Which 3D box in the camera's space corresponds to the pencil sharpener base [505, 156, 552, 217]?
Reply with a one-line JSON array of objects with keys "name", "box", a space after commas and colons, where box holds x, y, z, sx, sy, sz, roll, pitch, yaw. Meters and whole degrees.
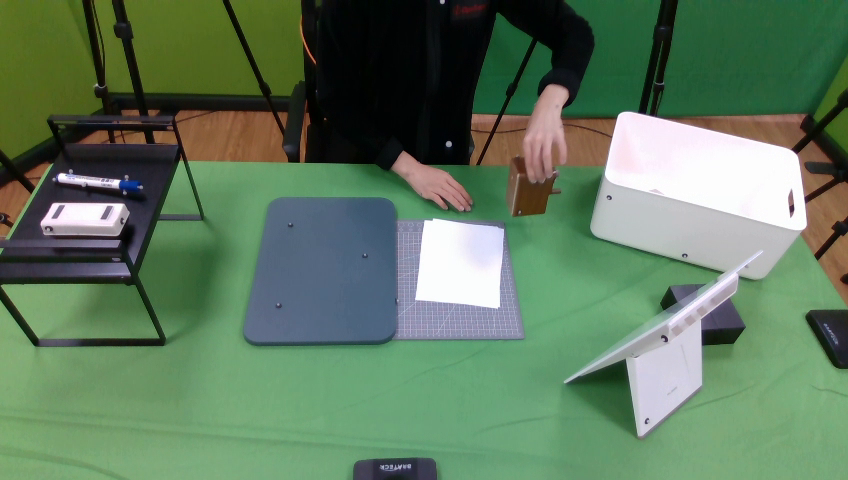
[{"name": "pencil sharpener base", "box": [0.206, -0.104, 1.190, 0.077, 0.107, 0.061, -5, 42, -7]}]

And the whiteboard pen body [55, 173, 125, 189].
[{"name": "whiteboard pen body", "box": [-0.539, -0.095, 0.998, 0.141, 0.017, 0.017, 6, 46, 6]}]

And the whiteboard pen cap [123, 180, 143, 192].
[{"name": "whiteboard pen cap", "box": [-0.479, -0.089, 0.993, 0.033, 0.018, 0.018, 7, 46, 14]}]

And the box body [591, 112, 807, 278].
[{"name": "box body", "box": [0.540, -0.092, 1.229, 0.363, 0.161, 0.253, 16, 47, 11]}]

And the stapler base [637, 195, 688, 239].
[{"name": "stapler base", "box": [0.507, -0.055, 1.280, 0.041, 0.024, 0.129, -14, 47, -19]}]

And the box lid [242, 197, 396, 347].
[{"name": "box lid", "box": [-0.186, 0.046, 1.147, 0.263, 0.015, 0.369, 0, 46, -3]}]

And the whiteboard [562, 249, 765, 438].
[{"name": "whiteboard", "box": [0.386, 0.175, 0.905, 0.217, 0.306, 0.143, -26, 72, -26]}]

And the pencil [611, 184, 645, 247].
[{"name": "pencil", "box": [0.430, -0.057, 1.286, 0.012, 0.012, 0.192, -3, 46, -7]}]

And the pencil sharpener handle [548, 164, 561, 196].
[{"name": "pencil sharpener handle", "box": [0.257, -0.117, 1.187, 0.031, 0.068, 0.036, -5, 38, -7]}]

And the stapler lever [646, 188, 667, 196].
[{"name": "stapler lever", "box": [0.507, -0.075, 1.262, 0.027, 0.040, 0.117, -14, 46, -19]}]

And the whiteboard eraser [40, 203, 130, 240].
[{"name": "whiteboard eraser", "box": [-0.513, -0.028, 0.922, 0.113, 0.042, 0.055, 1, 48, -3]}]
